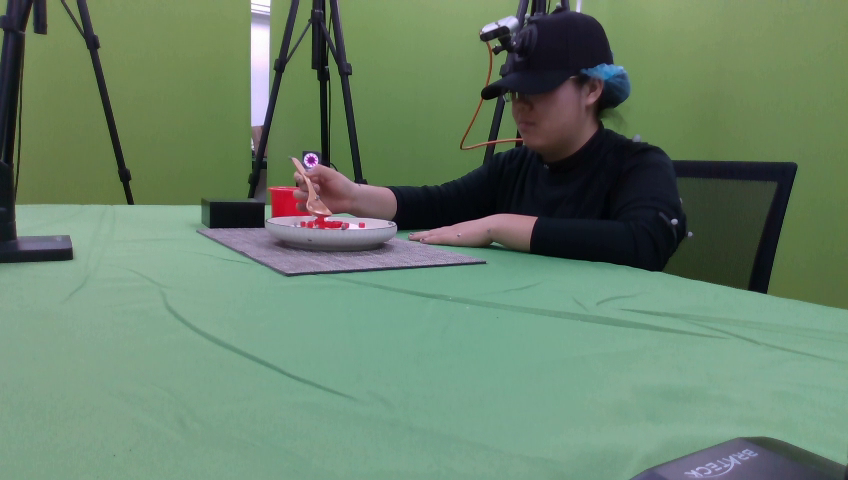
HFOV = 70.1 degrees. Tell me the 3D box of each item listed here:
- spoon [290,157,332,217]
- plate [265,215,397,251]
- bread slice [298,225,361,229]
[{"bbox_3d":[-0.199,-0.094,1.040,0.042,0.021,0.193,4,37,-32],"label":"spoon"},{"bbox_3d":[-0.147,-0.012,0.963,0.209,0.038,0.209,3,7,0],"label":"plate"},{"bbox_3d":[-0.154,-0.011,0.973,0.132,0.019,0.104,0,7,-31],"label":"bread slice"}]
